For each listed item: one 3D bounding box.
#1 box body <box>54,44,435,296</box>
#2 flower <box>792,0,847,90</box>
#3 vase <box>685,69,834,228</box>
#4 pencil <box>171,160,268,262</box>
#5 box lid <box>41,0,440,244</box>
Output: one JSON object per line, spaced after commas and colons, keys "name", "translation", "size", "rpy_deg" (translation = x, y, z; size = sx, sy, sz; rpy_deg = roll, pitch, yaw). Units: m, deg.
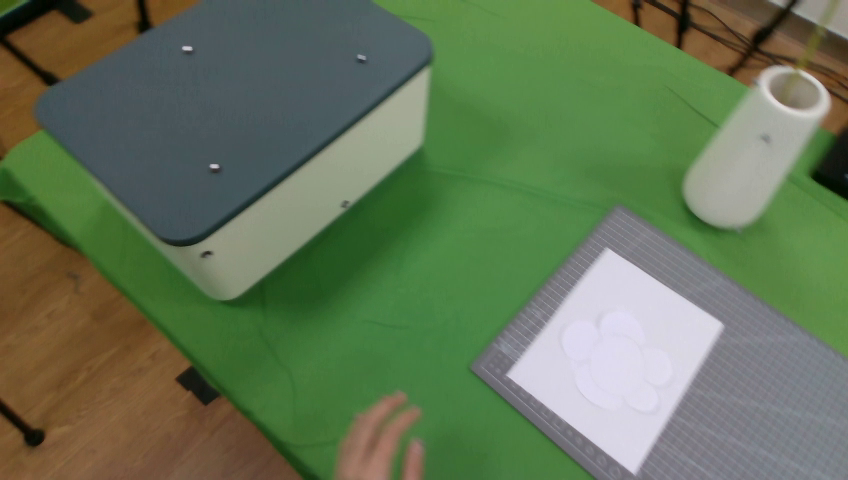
{"name": "box body", "translation": [-0.190, -0.138, 0.721], "size": [0.252, 0.161, 0.363], "rpy_deg": [39, 65, 19]}
{"name": "flower", "translation": [0.388, -0.156, 0.638], "size": [0.044, 0.364, 0.038], "rpy_deg": [31, 45, 20]}
{"name": "vase", "translation": [0.382, -0.100, 0.702], "size": [0.098, 0.201, 0.097], "rpy_deg": [1, 58, -1]}
{"name": "pencil", "translation": [-0.250, -0.036, 0.739], "size": [0.012, 0.012, 0.193], "rpy_deg": [-40, 71, -23]}
{"name": "box lid", "translation": [-0.187, -0.178, 0.658], "size": [0.261, 0.015, 0.371], "rpy_deg": [39, 66, 19]}
